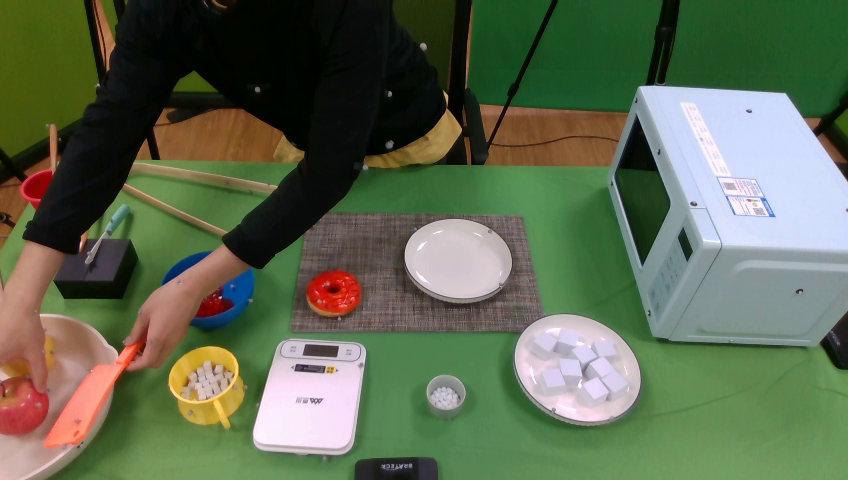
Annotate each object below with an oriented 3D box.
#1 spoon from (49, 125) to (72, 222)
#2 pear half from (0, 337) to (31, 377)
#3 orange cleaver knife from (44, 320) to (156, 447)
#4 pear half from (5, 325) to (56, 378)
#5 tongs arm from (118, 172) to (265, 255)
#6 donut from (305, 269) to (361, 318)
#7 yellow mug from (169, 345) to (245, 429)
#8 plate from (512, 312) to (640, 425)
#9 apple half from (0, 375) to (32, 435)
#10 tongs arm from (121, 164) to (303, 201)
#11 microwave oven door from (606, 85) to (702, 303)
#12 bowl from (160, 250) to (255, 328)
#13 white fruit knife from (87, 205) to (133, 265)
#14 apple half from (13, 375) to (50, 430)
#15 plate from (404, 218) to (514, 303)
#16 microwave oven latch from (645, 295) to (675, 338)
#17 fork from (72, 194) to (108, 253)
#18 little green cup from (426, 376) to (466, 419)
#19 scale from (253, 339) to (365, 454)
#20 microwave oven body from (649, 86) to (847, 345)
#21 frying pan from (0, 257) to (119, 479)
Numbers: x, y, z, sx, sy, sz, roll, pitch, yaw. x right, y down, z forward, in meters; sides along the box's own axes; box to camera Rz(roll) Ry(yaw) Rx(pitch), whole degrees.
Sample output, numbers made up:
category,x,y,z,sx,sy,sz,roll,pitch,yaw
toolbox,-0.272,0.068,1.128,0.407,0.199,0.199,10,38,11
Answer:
category,x,y,z,sx,sy,sz,roll,pitch,yaw
spoon,-0.718,-0.131,1.189,0.041,0.021,0.193,-4,90,-6
pear half,-0.631,0.184,0.921,0.070,0.088,0.031,31,49,22
orange cleaver knife,-0.468,0.204,0.881,0.077,0.012,0.210,-1,47,25
pear half,-0.608,0.158,0.935,0.076,0.110,0.056,31,51,19
tongs arm,-0.473,-0.053,1.213,0.386,0.028,0.028,23,58,17
donut,-0.160,0.094,1.075,0.099,0.048,0.098,4,45,-4
yellow mug,-0.322,0.230,0.922,0.100,0.064,0.130,-24,53,-25
plate,0.246,0.213,0.999,0.208,0.039,0.206,2,46,-2
apple half,-0.597,0.241,0.868,0.053,0.075,0.080,-13,49,-14
tongs arm,-0.444,-0.114,1.267,0.384,0.026,0.050,12,52,7
microwave oven door,0.422,-0.094,1.140,0.039,0.245,0.353,2,46,-1
bowl,-0.362,0.098,1.040,0.151,0.077,0.150,2,45,-2
white fruit knife,-0.584,-0.013,1.129,0.016,0.027,0.206,0,31,-5
apple half,-0.560,0.233,0.878,0.033,0.081,0.080,-13,48,-14
plate,0.065,0.042,1.146,0.209,0.038,0.208,2,46,-2
microwave oven latch,0.411,0.134,1.061,0.030,0.029,0.078,3,45,0
fork,-0.634,-0.035,1.158,0.028,0.019,0.206,-8,32,-8
little green cup,0.033,0.248,0.950,0.061,0.039,0.061,2,46,-2
scale,-0.175,0.236,0.951,0.149,0.032,0.199,4,45,0
microwave oven body,0.567,-0.053,1.118,0.326,0.261,0.439,2,45,-1
frying pan,-0.647,0.164,0.936,0.307,0.103,0.485,-19,58,-22
